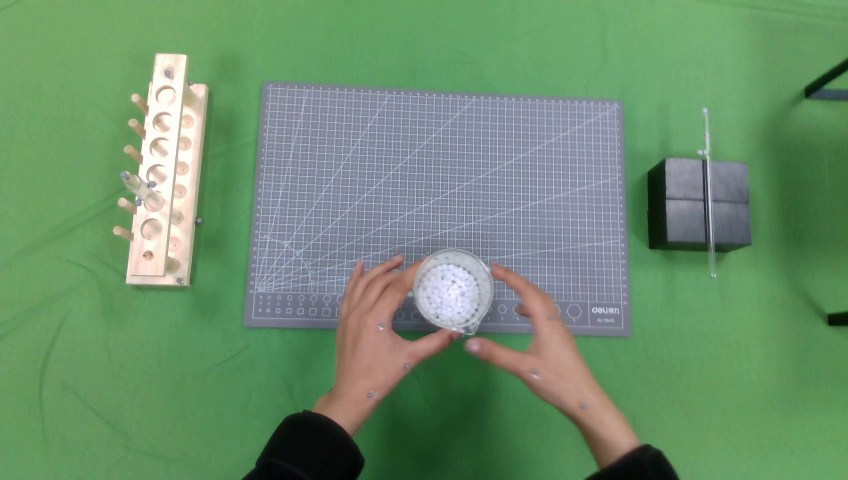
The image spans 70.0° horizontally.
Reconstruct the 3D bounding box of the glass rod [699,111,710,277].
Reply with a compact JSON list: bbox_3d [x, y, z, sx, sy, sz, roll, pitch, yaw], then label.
[{"bbox_3d":[0.326,-0.056,0.704,0.008,0.008,0.199,4,79,-3],"label":"glass rod"}]

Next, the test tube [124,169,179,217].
[{"bbox_3d":[-0.274,-0.044,0.616,0.017,0.150,0.017,2,80,-9],"label":"test tube"}]

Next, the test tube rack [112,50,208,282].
[{"bbox_3d":[-0.296,-0.080,0.672,0.067,0.085,0.241,2,79,-3],"label":"test tube rack"}]

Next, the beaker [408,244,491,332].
[{"bbox_3d":[0.025,0.052,0.597,0.074,0.100,0.083,-23,83,-5],"label":"beaker"}]
